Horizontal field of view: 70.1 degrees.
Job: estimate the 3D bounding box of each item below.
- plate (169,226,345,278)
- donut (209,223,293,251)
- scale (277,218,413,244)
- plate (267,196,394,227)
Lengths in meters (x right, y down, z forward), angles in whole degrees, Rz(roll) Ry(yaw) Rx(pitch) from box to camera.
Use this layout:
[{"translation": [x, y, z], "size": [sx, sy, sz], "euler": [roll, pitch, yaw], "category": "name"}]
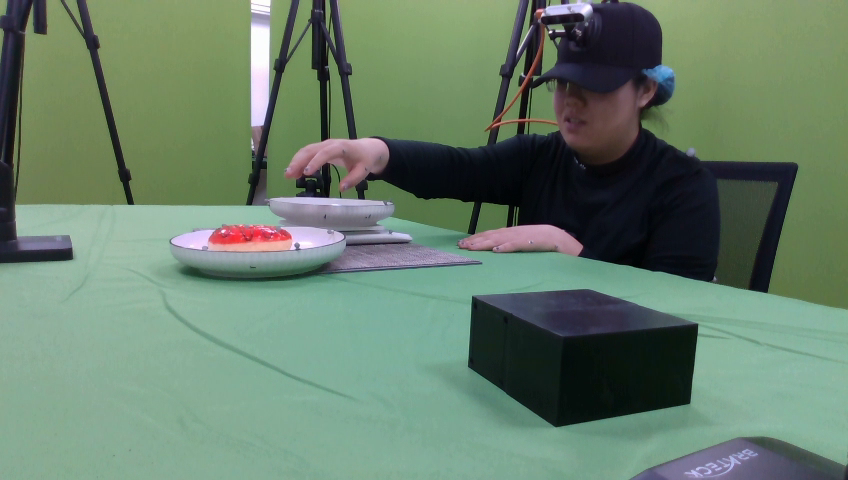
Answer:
[{"translation": [-0.202, 0.014, 0.747], "size": [0.209, 0.038, 0.209], "euler": [1, 9, 0], "category": "plate"}, {"translation": [-0.210, 0.004, 0.738], "size": [0.099, 0.048, 0.099], "euler": [0, 7, 0], "category": "donut"}, {"translation": [-0.134, -0.016, 1.015], "size": [0.202, 0.031, 0.148], "euler": [-2, 9, -33], "category": "scale"}, {"translation": [-0.152, -0.047, 0.998], "size": [0.208, 0.039, 0.207], "euler": [2, 6, 0], "category": "plate"}]
